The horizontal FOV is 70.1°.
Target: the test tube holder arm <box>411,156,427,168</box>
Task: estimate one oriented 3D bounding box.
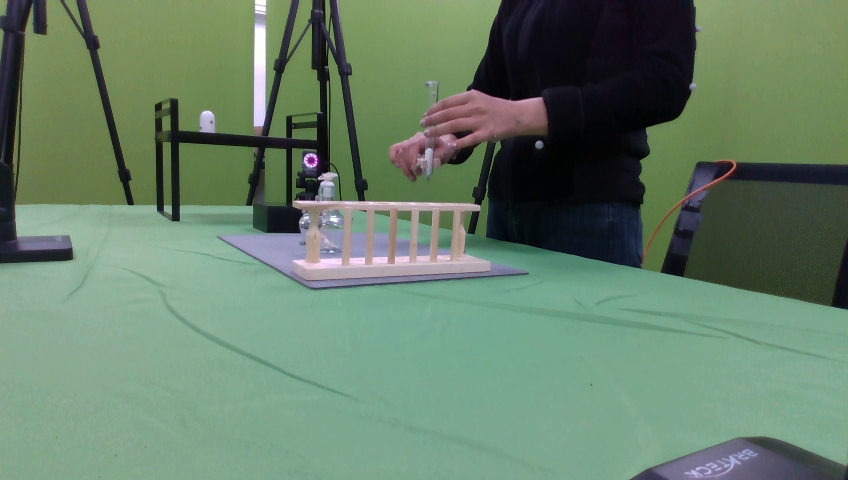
[{"bbox_3d":[-0.009,-0.135,1.035,0.013,0.015,0.178,-5,10,-7],"label":"test tube holder arm"}]

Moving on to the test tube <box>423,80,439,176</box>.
[{"bbox_3d":[0.010,-0.176,0.959,0.017,0.150,0.017,4,16,-1],"label":"test tube"}]

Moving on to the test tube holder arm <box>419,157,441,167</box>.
[{"bbox_3d":[0.006,-0.129,0.994,0.010,0.015,0.087,-9,11,-21],"label":"test tube holder arm"}]

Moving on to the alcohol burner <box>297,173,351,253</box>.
[{"bbox_3d":[-0.146,-0.040,0.894,0.078,0.119,0.078,5,7,0],"label":"alcohol burner"}]

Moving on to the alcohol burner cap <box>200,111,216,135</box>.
[{"bbox_3d":[-0.448,-0.243,1.254,0.034,0.048,0.034,2,7,0],"label":"alcohol burner cap"}]

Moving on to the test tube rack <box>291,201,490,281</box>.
[{"bbox_3d":[-0.035,-0.002,0.745,0.243,0.085,0.066,-1,8,-28],"label":"test tube rack"}]
